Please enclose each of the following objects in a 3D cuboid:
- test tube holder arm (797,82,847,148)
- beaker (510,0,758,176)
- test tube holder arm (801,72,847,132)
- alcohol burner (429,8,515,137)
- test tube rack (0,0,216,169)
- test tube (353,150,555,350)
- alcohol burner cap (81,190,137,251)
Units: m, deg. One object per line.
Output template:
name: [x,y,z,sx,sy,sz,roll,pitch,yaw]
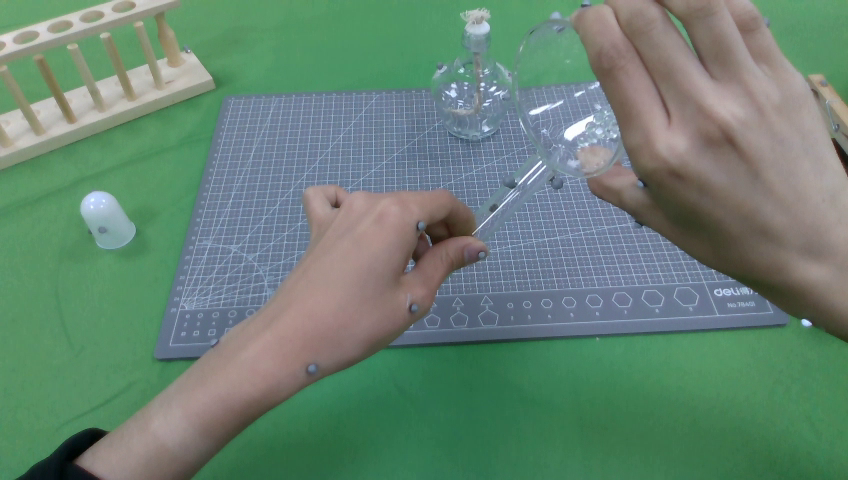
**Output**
test tube holder arm: [0.335,-0.070,0.462,0.015,0.013,0.176,1,48,-6]
beaker: [0.104,-0.082,0.299,0.100,0.084,0.073,-27,64,-22]
test tube holder arm: [0.333,-0.107,0.488,0.015,0.010,0.087,1,49,-7]
alcohol burner: [0.044,-0.150,0.536,0.078,0.120,0.077,0,51,0]
test tube rack: [-0.333,-0.151,0.567,0.242,0.086,0.066,-28,55,-20]
test tube: [0.013,0.009,0.332,0.150,0.017,0.017,-45,53,15]
alcohol burner cap: [-0.255,-0.018,0.485,0.034,0.048,0.033,0,50,1]
